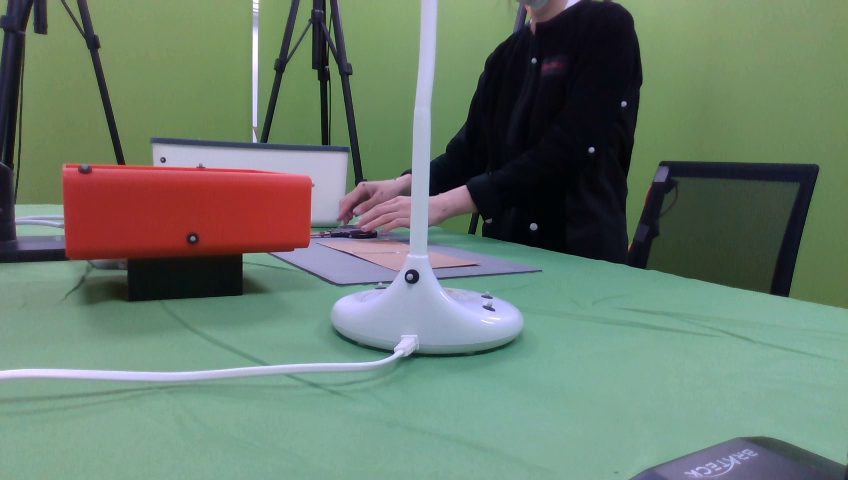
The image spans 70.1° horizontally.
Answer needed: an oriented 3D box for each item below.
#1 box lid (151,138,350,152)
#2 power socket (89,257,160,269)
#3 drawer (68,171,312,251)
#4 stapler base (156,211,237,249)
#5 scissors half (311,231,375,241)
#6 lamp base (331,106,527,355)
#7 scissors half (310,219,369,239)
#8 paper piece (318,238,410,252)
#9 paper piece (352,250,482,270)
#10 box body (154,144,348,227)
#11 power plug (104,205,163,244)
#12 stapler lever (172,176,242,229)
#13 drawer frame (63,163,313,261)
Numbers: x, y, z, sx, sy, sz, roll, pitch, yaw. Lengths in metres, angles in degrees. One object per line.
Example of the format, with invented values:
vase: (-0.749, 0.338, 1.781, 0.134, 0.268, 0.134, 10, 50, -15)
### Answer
box lid: (-0.352, -0.192, 1.255, 0.373, 0.015, 0.262, 0, 7, -18)
power socket: (-0.409, 0.004, 0.793, 0.072, 0.032, 0.225, -2, 8, -38)
drawer: (-0.247, -0.036, 0.629, 0.213, 0.073, 0.193, -3, 9, -30)
stapler base: (-0.227, -0.017, 0.624, 0.041, 0.024, 0.130, 18, 10, -2)
scissors half: (-0.164, -0.002, 1.052, 0.176, 0.013, 0.040, 2, 45, -30)
lamp base: (0.006, -0.012, 0.478, 0.161, 0.180, 0.179, 2, 10, 2)
scissors half: (-0.173, -0.015, 1.063, 0.176, 0.013, 0.040, -11, 47, -41)
paper piece: (-0.083, 0.008, 0.951, 0.136, 0.004, 0.134, -2, 8, -31)
paper piece: (-0.013, 0.026, 0.841, 0.139, 0.008, 0.135, -1, 11, -32)
box body: (-0.357, -0.119, 1.264, 0.365, 0.160, 0.253, 0, 7, -18)
power plug: (-0.390, -0.021, 0.815, 0.073, 0.052, 0.035, -1, 7, -27)
stapler lever: (-0.217, -0.041, 0.618, 0.027, 0.040, 0.118, 18, 11, -2)
drawer frame: (-0.248, -0.036, 0.626, 0.215, 0.082, 0.200, -3, 9, -31)
